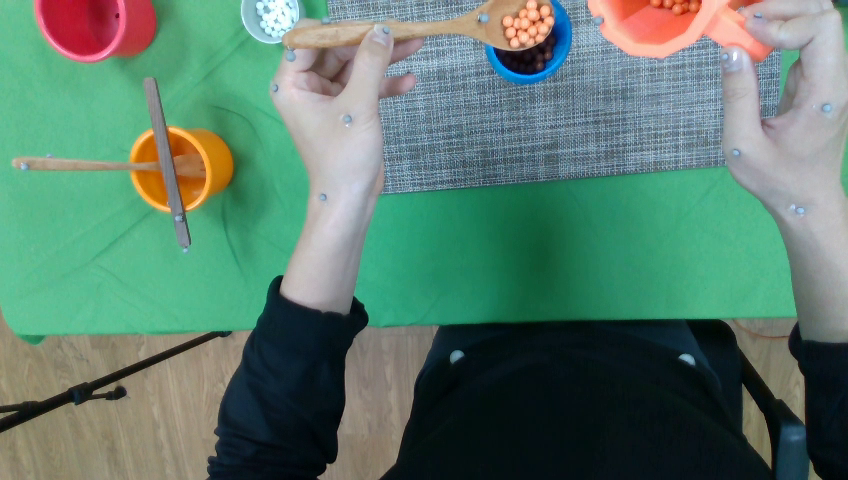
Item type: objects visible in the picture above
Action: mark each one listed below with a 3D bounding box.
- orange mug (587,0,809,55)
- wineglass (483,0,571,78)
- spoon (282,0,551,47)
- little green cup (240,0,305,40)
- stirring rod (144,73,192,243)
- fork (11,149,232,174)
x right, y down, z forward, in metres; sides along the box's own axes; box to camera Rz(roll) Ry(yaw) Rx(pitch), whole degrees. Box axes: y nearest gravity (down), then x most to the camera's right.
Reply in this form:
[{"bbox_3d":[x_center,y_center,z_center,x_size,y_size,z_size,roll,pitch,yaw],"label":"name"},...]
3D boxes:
[{"bbox_3d":[0.180,-0.168,0.390,0.125,0.101,0.084,46,147,18],"label":"orange mug"},{"bbox_3d":[0.090,-0.181,0.542,0.073,0.171,0.074,2,105,7],"label":"wineglass"},{"bbox_3d":[0.002,-0.144,0.404,0.194,0.021,0.042,-14,125,-26],"label":"spoon"},{"bbox_3d":[-0.155,-0.239,0.629,0.061,0.038,0.062,2,107,7],"label":"little green cup"},{"bbox_3d":[-0.265,-0.082,0.628,0.014,0.006,0.177,-4,105,9],"label":"stirring rod"},{"bbox_3d":[-0.307,-0.083,0.635,0.208,0.018,0.028,-5,118,-37],"label":"fork"}]
